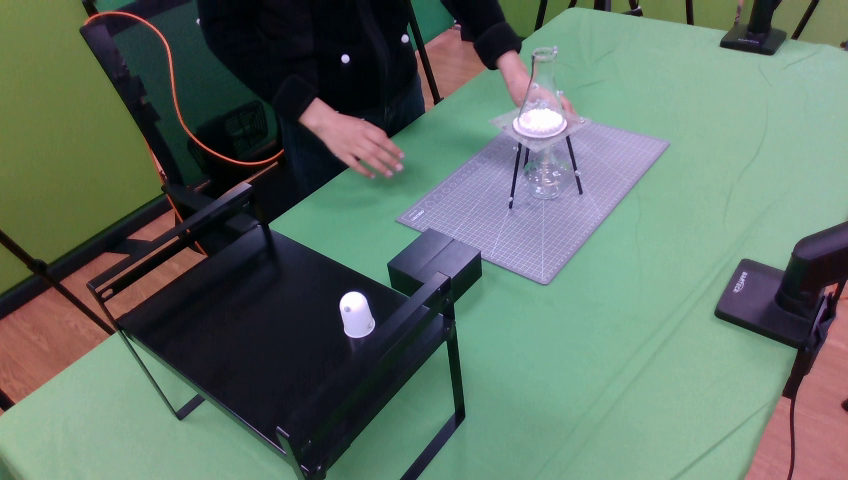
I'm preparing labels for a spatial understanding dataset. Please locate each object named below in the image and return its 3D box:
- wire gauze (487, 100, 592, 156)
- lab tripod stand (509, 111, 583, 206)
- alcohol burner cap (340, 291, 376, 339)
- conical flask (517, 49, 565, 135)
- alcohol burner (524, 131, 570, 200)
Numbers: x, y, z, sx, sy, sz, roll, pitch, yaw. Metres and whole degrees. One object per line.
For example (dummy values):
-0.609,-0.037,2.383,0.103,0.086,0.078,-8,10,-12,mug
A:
0.185,-0.187,0.974,0.122,0.011,0.124,-28,47,-22,wire gauze
0.198,-0.139,1.019,0.148,0.132,0.147,-3,39,3,lab tripod stand
-0.067,0.072,0.605,0.034,0.048,0.033,-5,41,5,alcohol burner cap
0.183,-0.231,0.936,0.075,0.122,0.075,-4,40,4,conical flask
0.208,-0.129,1.021,0.078,0.119,0.077,-4,39,4,alcohol burner
